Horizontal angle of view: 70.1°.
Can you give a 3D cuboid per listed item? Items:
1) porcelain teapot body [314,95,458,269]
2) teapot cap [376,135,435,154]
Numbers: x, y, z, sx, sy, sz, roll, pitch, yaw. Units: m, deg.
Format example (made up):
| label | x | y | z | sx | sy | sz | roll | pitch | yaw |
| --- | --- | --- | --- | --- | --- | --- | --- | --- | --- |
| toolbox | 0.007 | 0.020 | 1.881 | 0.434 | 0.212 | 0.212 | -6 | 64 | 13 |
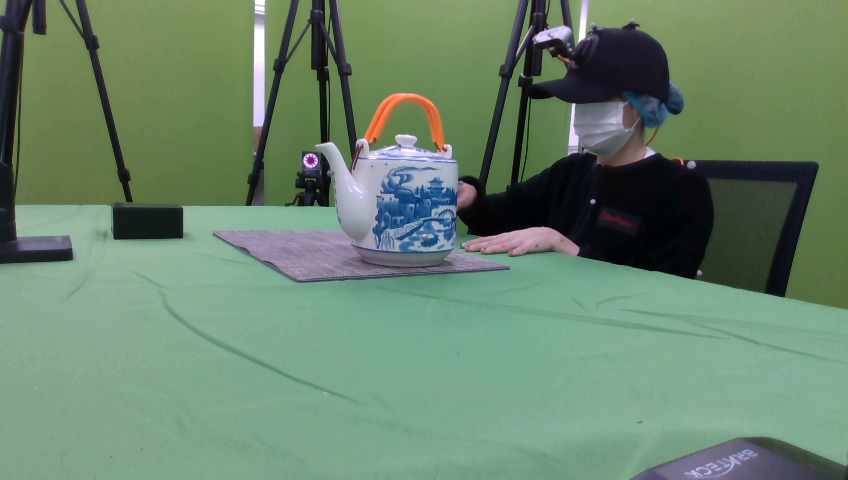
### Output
| label | x | y | z | sx | sy | sz | roll | pitch | yaw |
| --- | --- | --- | --- | --- | --- | --- | --- | --- | --- |
| porcelain teapot body | -0.049 | -0.079 | 0.800 | 0.206 | 0.225 | 0.144 | -3 | 9 | -37 |
| teapot cap | -0.024 | -0.118 | 0.811 | 0.085 | 0.044 | 0.085 | 4 | 8 | 0 |
